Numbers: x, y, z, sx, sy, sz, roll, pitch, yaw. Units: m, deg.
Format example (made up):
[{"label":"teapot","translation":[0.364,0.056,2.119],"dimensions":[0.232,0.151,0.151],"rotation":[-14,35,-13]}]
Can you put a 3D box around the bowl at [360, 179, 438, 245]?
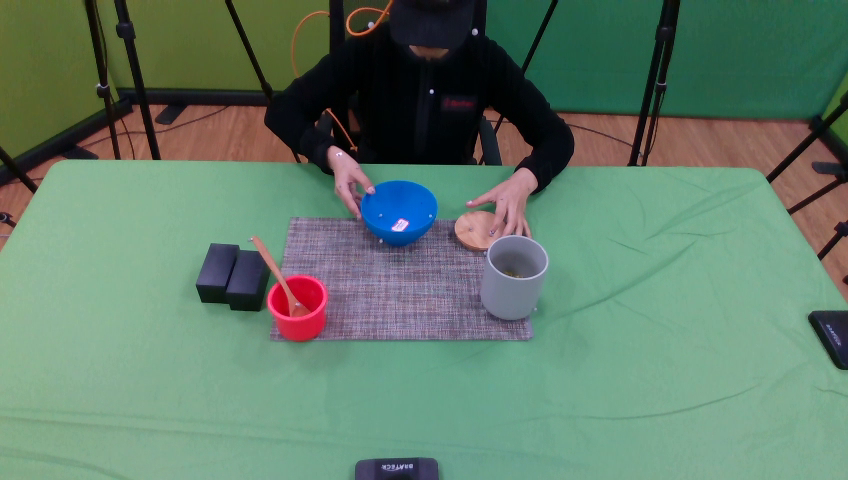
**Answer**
[{"label":"bowl","translation":[-0.050,-0.043,1.191],"dimensions":[0.151,0.077,0.150],"rotation":[2,45,-1]}]

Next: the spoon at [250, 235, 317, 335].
[{"label":"spoon","translation":[-0.237,0.075,1.019],"dimensions":[0.041,0.021,0.194],"rotation":[-32,100,-32]}]

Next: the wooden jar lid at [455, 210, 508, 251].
[{"label":"wooden jar lid","translation":[0.115,-0.018,1.220],"dimensions":[0.108,0.021,0.107],"rotation":[3,47,-3]}]

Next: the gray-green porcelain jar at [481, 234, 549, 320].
[{"label":"gray-green porcelain jar","translation":[0.156,0.070,1.064],"dimensions":[0.106,0.127,0.105],"rotation":[2,46,-2]}]
